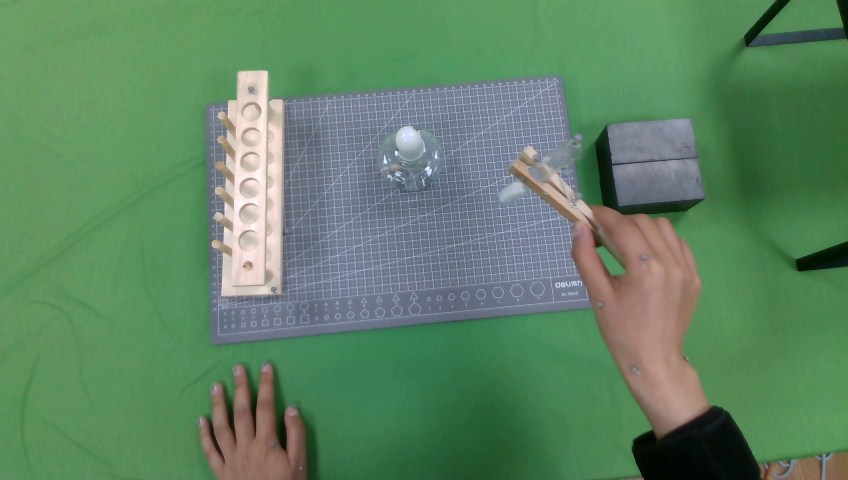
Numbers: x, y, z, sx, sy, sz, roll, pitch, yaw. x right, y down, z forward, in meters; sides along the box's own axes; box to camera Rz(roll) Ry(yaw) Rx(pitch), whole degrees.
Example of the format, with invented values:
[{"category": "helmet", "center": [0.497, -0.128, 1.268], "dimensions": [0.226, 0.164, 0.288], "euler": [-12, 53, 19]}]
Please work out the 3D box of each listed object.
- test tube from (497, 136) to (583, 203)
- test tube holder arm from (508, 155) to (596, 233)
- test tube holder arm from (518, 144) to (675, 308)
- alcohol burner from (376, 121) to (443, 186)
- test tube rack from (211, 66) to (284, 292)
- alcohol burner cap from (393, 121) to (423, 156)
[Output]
[{"category": "test tube", "center": [0.090, -0.054, 0.497], "dimensions": [0.017, 0.150, 0.017], "euler": [2, 80, -12]}, {"category": "test tube holder arm", "center": [0.105, -0.037, 0.491], "dimensions": [0.088, 0.015, 0.010], "euler": [38, 79, -5]}, {"category": "test tube holder arm", "center": [0.142, -0.010, 0.496], "dimensions": [0.178, 0.015, 0.013], "euler": [45, 79, -4]}, {"category": "alcohol burner", "center": [-0.017, -0.104, 0.688], "dimensions": [0.078, 0.119, 0.077], "euler": [0, 79, 0]}, {"category": "test tube rack", "center": [-0.204, -0.067, 0.691], "dimensions": [0.067, 0.085, 0.241], "euler": [-2, 78, -1]}, {"category": "alcohol burner cap", "center": [-0.018, -0.111, 0.653], "dimensions": [0.034, 0.048, 0.034], "euler": [0, 83, 1]}]
